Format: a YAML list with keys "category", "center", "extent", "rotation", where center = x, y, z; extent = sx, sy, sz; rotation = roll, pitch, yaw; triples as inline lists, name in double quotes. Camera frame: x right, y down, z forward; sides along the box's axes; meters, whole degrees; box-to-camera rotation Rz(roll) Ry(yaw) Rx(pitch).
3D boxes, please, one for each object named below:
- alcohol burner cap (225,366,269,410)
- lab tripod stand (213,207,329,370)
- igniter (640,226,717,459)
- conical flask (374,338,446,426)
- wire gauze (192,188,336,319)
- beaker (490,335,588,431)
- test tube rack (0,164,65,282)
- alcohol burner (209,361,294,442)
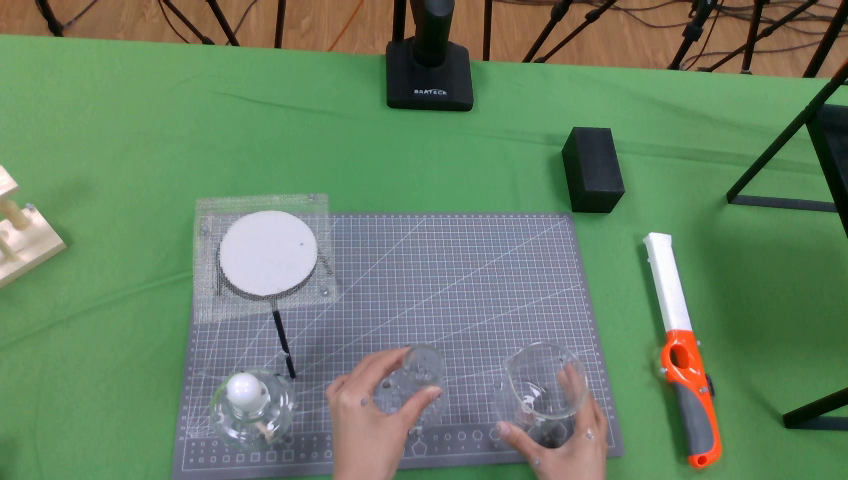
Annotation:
- category: "alcohol burner cap"
  center: [-0.156, 0.127, 0.527]
  extent: [0.034, 0.048, 0.033]
  rotation: [2, 65, -3]
- category: "lab tripod stand"
  center: [-0.150, 0.042, 0.605]
  extent: [0.149, 0.132, 0.147]
  rotation: [4, 61, -7]
- category: "igniter"
  center: [0.288, 0.107, 0.693]
  extent: [0.057, 0.025, 0.274]
  rotation: [8, 60, -15]
- category: "conical flask"
  center: [-0.009, 0.130, 0.581]
  extent: [0.075, 0.122, 0.074]
  rotation: [3, 62, -6]
- category: "wire gauze"
  center: [-0.146, 0.006, 0.548]
  extent: [0.122, 0.011, 0.124]
  rotation: [-5, 64, -11]
- category: "beaker"
  center: [0.106, 0.145, 0.602]
  extent: [0.084, 0.101, 0.073]
  rotation: [21, 60, 6]
- category: "test tube rack"
  center: [-0.501, 0.031, 0.595]
  extent: [0.242, 0.086, 0.066]
  rotation: [-39, 72, -25]
- category: "alcohol burner"
  center: [-0.160, 0.144, 0.559]
  extent: [0.078, 0.120, 0.077]
  rotation: [4, 60, -7]
